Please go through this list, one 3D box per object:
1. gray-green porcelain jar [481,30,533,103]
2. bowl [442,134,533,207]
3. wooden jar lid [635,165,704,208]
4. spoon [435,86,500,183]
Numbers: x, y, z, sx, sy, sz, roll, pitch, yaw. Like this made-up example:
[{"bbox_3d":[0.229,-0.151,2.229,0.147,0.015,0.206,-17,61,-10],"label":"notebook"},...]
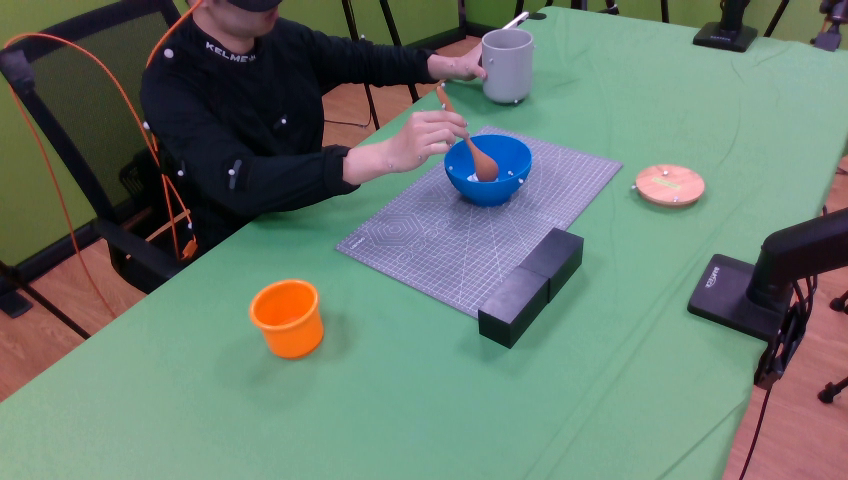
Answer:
[{"bbox_3d":[0.174,-0.362,1.275,0.106,0.127,0.105,-3,41,3],"label":"gray-green porcelain jar"},{"bbox_3d":[0.111,-0.109,1.033,0.151,0.077,0.150,-4,41,4],"label":"bowl"},{"bbox_3d":[0.410,-0.089,1.014,0.108,0.021,0.108,-5,42,5],"label":"wooden jar lid"},{"bbox_3d":[0.068,-0.165,0.971,0.041,0.195,0.021,-37,27,1],"label":"spoon"}]
